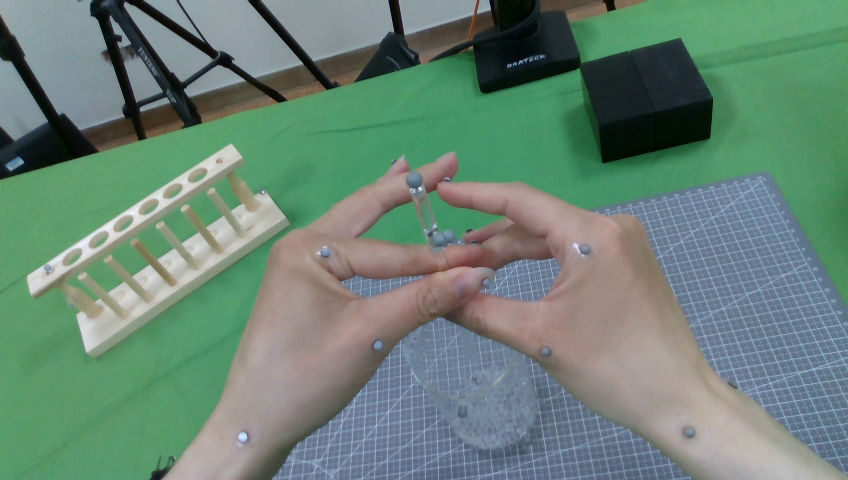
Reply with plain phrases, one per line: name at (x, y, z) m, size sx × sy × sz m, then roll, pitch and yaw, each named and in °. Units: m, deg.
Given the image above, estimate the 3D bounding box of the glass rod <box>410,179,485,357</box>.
glass rod at (0.018, 0.027, 0.313) m, size 0.008 × 0.201 × 0.008 m, roll -6°, pitch 60°, yaw 10°

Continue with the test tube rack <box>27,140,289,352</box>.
test tube rack at (-0.274, 0.005, 0.639) m, size 0.242 × 0.086 × 0.066 m, roll -36°, pitch 49°, yaw -10°

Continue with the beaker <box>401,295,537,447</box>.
beaker at (0.036, 0.097, 0.430) m, size 0.083 × 0.101 × 0.073 m, roll -1°, pitch 51°, yaw 22°
